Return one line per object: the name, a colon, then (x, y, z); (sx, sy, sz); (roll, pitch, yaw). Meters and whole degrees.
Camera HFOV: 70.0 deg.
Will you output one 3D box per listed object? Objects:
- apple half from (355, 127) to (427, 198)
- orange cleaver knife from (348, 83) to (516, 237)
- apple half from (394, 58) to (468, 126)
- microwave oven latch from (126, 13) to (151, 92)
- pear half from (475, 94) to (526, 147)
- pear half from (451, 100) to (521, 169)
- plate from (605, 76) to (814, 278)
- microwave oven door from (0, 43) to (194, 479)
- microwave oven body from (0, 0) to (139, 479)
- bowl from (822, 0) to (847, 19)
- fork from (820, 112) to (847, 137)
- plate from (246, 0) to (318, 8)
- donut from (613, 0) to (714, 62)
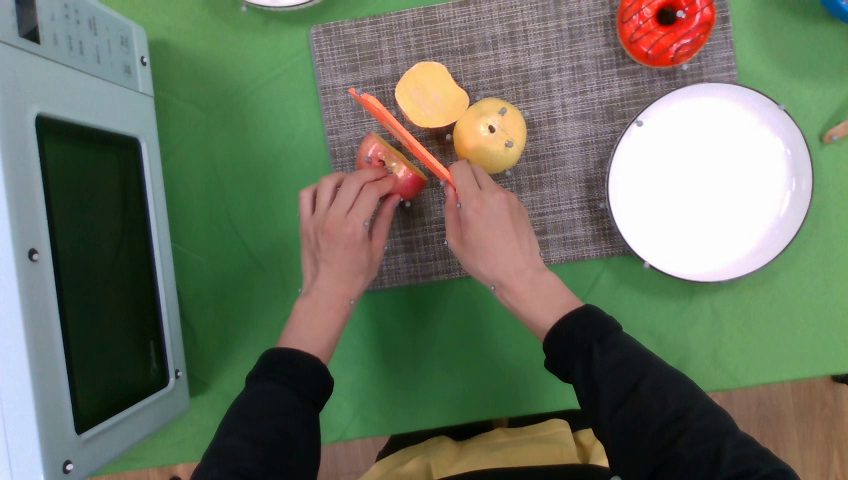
apple half: (-0.042, -0.075, 0.647); (0.081, 0.074, 0.053); (41, 101, -4)
orange cleaver knife: (0.009, -0.077, 0.591); (0.213, 0.076, 0.012); (41, 92, -20)
apple half: (0.003, -0.153, 0.655); (0.081, 0.033, 0.081); (3, 75, -10)
microwave oven latch: (-0.321, -0.203, 0.661); (0.030, 0.029, 0.079); (-4, 94, 4)
pear half: (0.084, -0.129, 0.625); (0.070, 0.088, 0.031); (40, 95, 7)
pear half: (0.059, -0.103, 0.619); (0.076, 0.110, 0.056); (40, 95, 6)
plate: (0.295, -0.065, 0.640); (0.209, 0.038, 0.209); (0, 94, 4)
microwave oven door: (-0.309, 0.021, 0.574); (0.039, 0.244, 0.356); (-6, 93, 5)
microwave oven body: (-0.458, -0.008, 0.588); (0.326, 0.260, 0.442); (-6, 94, 4)
bowl: (0.446, -0.281, 0.598); (0.151, 0.077, 0.151); (0, 94, 4)
fork: (0.498, -0.166, 0.597); (0.207, 0.018, 0.028); (-36, 97, 26)
plate: (-0.151, -0.355, 0.657); (0.207, 0.039, 0.207); (0, 94, 4)
donut: (0.247, -0.235, 0.629); (0.099, 0.048, 0.099); (1, 95, 7)
